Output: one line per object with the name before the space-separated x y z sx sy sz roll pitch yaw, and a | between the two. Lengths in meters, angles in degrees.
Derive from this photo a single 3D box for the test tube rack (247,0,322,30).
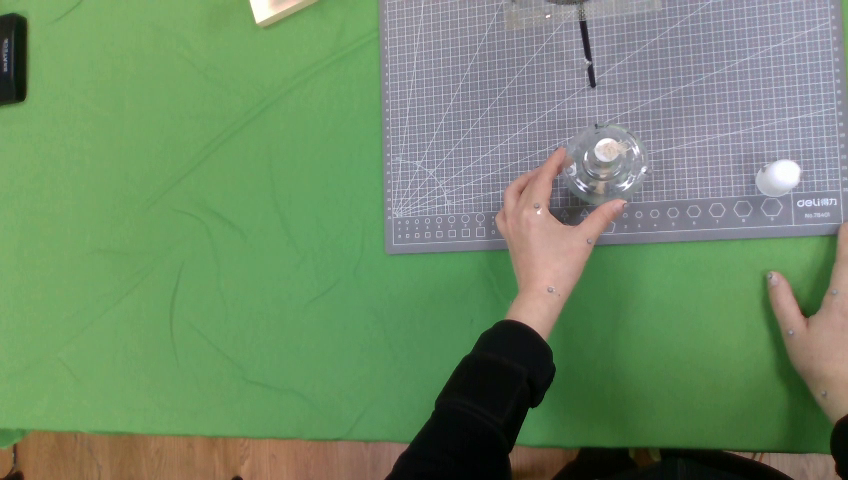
test tube rack | -0.107 -0.324 0.659 0.242 0.085 0.066 -21 81 14

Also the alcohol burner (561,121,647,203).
alcohol burner | 0.164 -0.074 0.552 0.077 0.119 0.078 -1 86 15

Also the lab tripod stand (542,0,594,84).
lab tripod stand | 0.138 -0.232 0.557 0.148 0.132 0.148 -1 88 14

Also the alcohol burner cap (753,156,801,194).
alcohol burner cap | 0.319 -0.060 0.544 0.034 0.048 0.034 -1 86 16

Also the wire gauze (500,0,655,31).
wire gauze | 0.120 -0.236 0.494 0.125 0.011 0.121 -3 90 13
